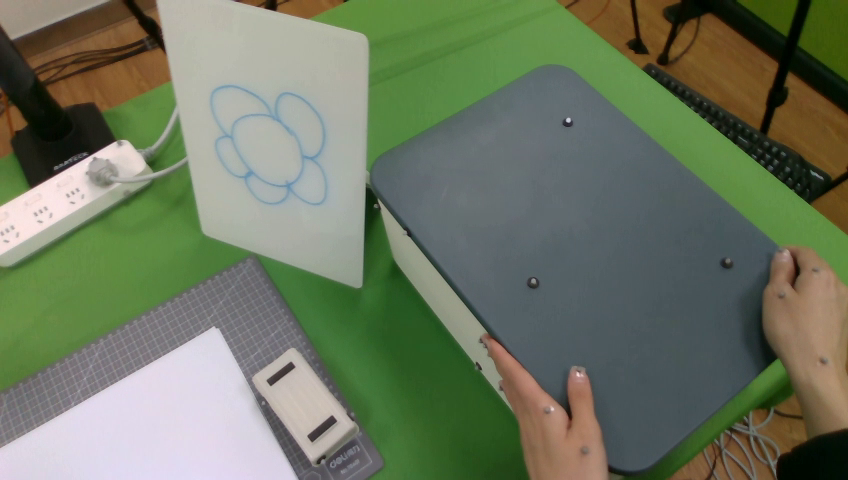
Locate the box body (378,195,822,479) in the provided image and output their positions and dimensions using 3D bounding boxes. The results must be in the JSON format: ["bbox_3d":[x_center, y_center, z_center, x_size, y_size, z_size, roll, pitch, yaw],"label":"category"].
[{"bbox_3d":[0.148,0.029,0.623,0.254,0.162,0.360,-32,63,-17],"label":"box body"}]

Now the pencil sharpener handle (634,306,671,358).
[{"bbox_3d":[0.229,0.091,0.593,0.036,0.068,0.030,-18,59,5],"label":"pencil sharpener handle"}]

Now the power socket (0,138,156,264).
[{"bbox_3d":[-0.447,-0.052,0.762,0.226,0.033,0.071,-36,65,-19],"label":"power socket"}]

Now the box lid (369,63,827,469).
[{"bbox_3d":[0.145,-0.012,0.560,0.263,0.015,0.368,-32,64,-17],"label":"box lid"}]

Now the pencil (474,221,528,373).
[{"bbox_3d":[0.087,0.060,0.689,0.012,0.012,0.192,-13,62,-6],"label":"pencil"}]

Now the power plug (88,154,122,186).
[{"bbox_3d":[-0.390,-0.075,0.747,0.035,0.053,0.072,-27,63,-14],"label":"power plug"}]

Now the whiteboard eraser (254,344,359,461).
[{"bbox_3d":[-0.120,0.163,0.616,0.055,0.042,0.112,-36,64,-21],"label":"whiteboard eraser"}]

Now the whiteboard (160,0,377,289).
[{"bbox_3d":[-0.135,-0.129,0.678,0.216,0.308,0.143,19,42,13],"label":"whiteboard"}]

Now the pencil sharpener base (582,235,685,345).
[{"bbox_3d":[0.214,0.057,0.629,0.061,0.108,0.076,-11,59,-6],"label":"pencil sharpener base"}]
